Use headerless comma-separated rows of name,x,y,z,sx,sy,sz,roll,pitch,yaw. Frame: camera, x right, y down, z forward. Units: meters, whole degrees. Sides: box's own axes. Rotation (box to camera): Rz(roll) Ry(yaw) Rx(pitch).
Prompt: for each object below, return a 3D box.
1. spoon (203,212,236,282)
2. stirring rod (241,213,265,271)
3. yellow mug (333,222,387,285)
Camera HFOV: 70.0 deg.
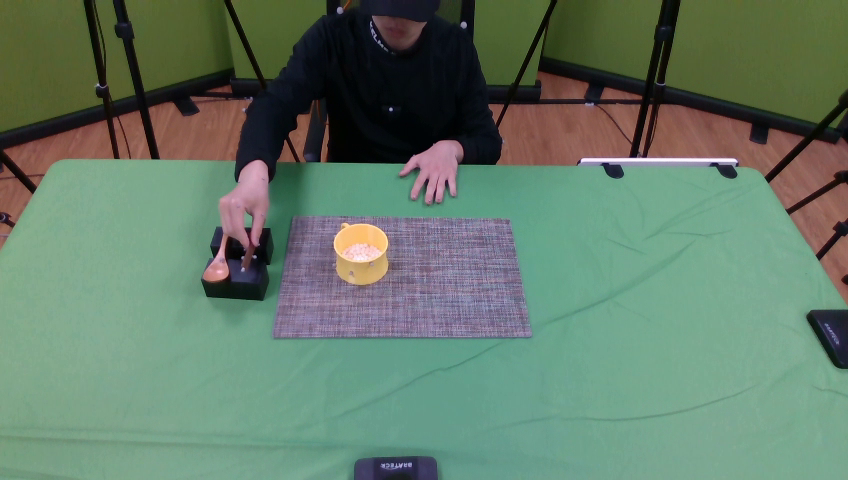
spoon,-0.361,0.009,1.097,0.041,0.022,0.192,0,44,-3
stirring rod,-0.306,0.000,1.091,0.006,0.014,0.175,-17,32,9
yellow mug,-0.127,0.016,1.139,0.100,0.064,0.130,-23,51,-24
